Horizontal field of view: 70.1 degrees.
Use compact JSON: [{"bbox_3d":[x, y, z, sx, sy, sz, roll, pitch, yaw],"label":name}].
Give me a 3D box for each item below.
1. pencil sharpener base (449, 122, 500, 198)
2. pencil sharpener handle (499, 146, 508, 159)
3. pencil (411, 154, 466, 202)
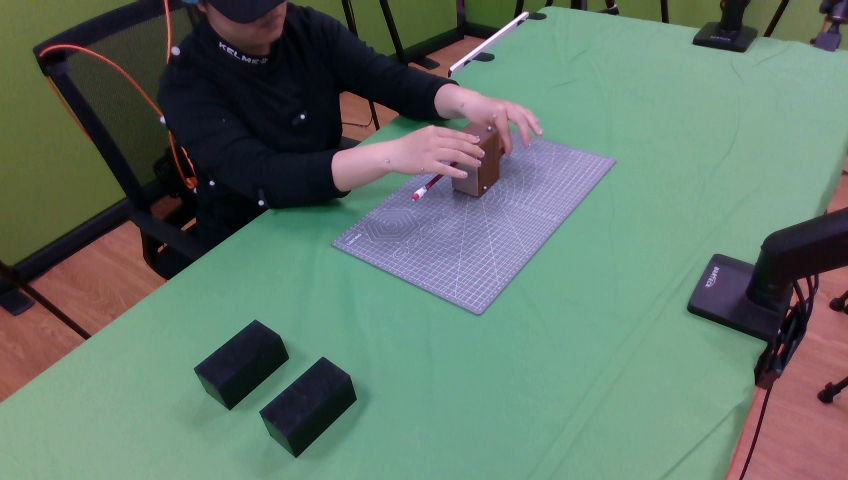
[{"bbox_3d":[0.090,-0.140,1.052,0.061,0.107,0.077,21,47,29],"label":"pencil sharpener base"},{"bbox_3d":[0.125,-0.177,1.069,0.035,0.068,0.031,-10,28,48],"label":"pencil sharpener handle"},{"bbox_3d":[0.039,-0.116,0.986,0.012,0.012,0.194,21,46,30],"label":"pencil"}]
